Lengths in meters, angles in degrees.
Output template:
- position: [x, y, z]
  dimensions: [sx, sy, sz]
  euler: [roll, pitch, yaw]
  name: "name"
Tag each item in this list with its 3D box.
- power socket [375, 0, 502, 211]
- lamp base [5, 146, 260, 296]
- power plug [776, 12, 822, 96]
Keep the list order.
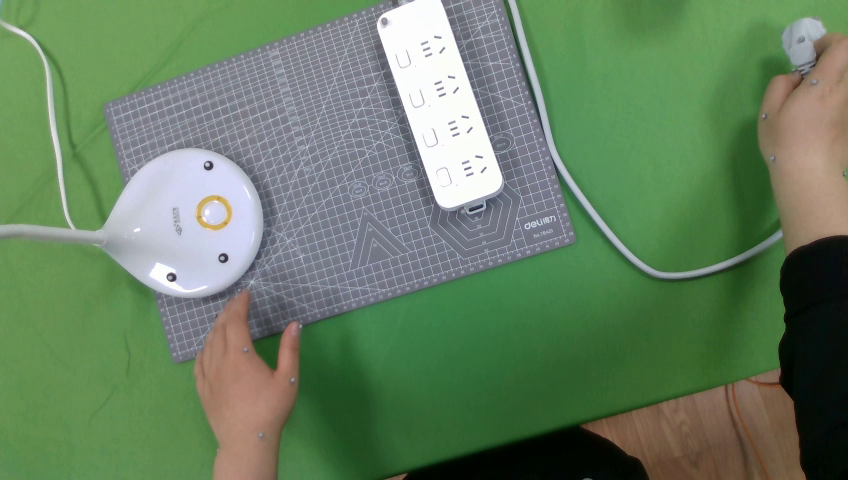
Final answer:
- position: [0.015, -0.139, 0.611]
  dimensions: [0.072, 0.032, 0.226]
  euler: [-19, 87, 5]
  name: "power socket"
- position: [-0.274, -0.017, 0.572]
  dimensions: [0.179, 0.180, 0.160]
  euler: [-23, 86, 9]
  name: "lamp base"
- position: [0.344, -0.170, 0.555]
  dimensions: [0.035, 0.052, 0.073]
  euler: [2, 115, 40]
  name: "power plug"
